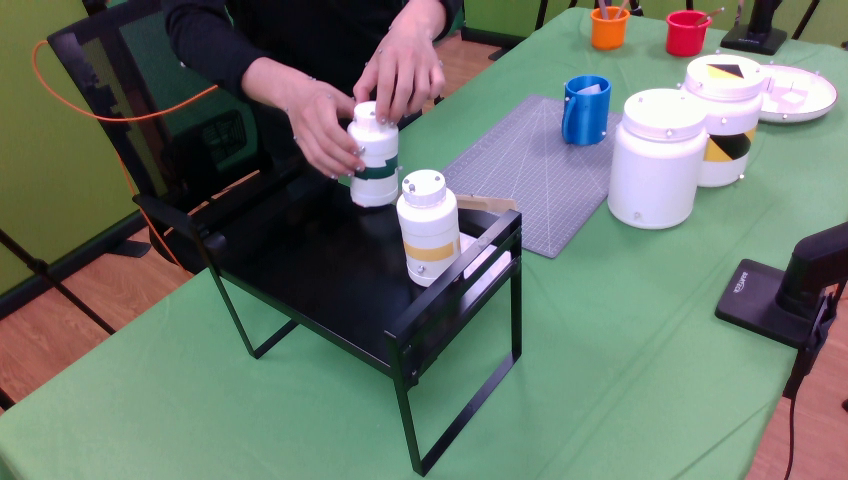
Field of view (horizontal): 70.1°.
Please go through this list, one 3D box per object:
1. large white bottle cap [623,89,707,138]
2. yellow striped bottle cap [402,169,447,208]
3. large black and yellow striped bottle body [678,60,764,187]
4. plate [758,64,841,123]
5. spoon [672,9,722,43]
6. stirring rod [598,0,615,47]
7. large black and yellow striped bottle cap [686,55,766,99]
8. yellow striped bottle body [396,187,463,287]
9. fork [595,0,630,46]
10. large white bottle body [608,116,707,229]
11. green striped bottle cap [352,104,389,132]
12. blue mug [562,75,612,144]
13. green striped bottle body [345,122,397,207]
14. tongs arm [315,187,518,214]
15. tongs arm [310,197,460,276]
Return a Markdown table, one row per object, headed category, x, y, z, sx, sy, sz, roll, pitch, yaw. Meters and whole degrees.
| category | x | y | z | sx | sy | sz | roll | pitch | yaw |
| --- | --- | --- | --- | --- | --- | --- | --- | --- | --- |
| large white bottle cap | 0.352 | -0.187 | 0.886 | 0.115 | 0.018 | 0.114 | -4 | 41 | 4 |
| yellow striped bottle cap | 0.000 | -0.052 | 0.605 | 0.044 | 0.019 | 0.044 | -5 | 43 | 5 |
| large black and yellow striped bottle body | 0.482 | -0.196 | 1.008 | 0.131 | 0.185 | 0.130 | -4 | 41 | 4 |
| plate | 0.695 | -0.283 | 1.189 | 0.207 | 0.039 | 0.206 | -4 | 40 | 4 |
| spoon | 0.606 | -0.476 | 1.345 | 0.042 | 0.021 | 0.193 | -6 | -3 | -2 |
| stirring rod | 0.437 | -0.551 | 1.462 | 0.014 | 0.006 | 0.175 | -11 | 83 | 1 |
| large black and yellow striped bottle cap | 0.474 | -0.258 | 0.952 | 0.115 | 0.019 | 0.114 | -5 | 41 | 5 |
| yellow striped bottle body | 0.006 | -0.013 | 0.638 | 0.063 | 0.121 | 0.062 | -5 | 41 | 5 |
| fork | 0.479 | -0.556 | 1.452 | 0.028 | 0.019 | 0.207 | 41 | 103 | 39 |
| large white bottle body | 0.361 | -0.123 | 0.942 | 0.130 | 0.185 | 0.130 | -4 | 42 | 4 |
| green striped bottle cap | -0.064 | -0.146 | 0.726 | 0.044 | 0.020 | 0.044 | 2 | 34 | -1 |
| blue mug | 0.298 | -0.239 | 1.143 | 0.117 | 0.106 | 0.081 | -37 | 48 | -29 |
| green striped bottle body | -0.065 | -0.106 | 0.757 | 0.063 | 0.119 | 0.063 | 1 | 38 | 0 |
| tongs arm | -0.028 | -0.060 | 0.988 | 0.382 | 0.027 | 0.051 | 9 | 45 | 36 |
| tongs arm | -0.078 | -0.012 | 0.943 | 0.028 | 0.028 | 0.384 | -43 | 39 | -23 |
